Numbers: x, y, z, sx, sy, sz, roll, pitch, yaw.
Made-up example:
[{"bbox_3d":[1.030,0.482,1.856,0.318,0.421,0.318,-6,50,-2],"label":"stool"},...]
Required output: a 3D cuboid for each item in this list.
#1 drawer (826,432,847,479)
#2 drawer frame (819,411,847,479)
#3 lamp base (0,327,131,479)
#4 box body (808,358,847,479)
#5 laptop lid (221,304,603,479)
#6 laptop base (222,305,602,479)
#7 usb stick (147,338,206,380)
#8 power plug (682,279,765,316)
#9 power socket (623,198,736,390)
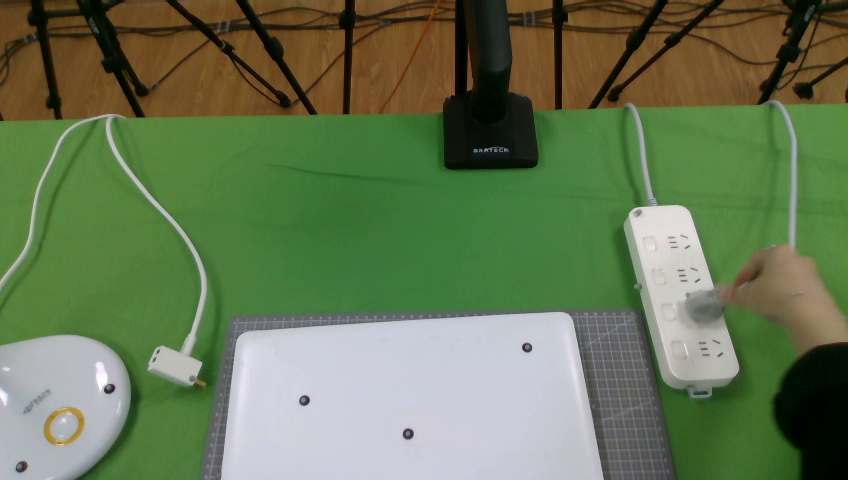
[{"bbox_3d":[0.481,0.204,0.519,0.193,0.074,0.211,33,66,20],"label":"drawer"},{"bbox_3d":[0.477,0.204,0.520,0.200,0.083,0.213,34,61,18],"label":"drawer frame"},{"bbox_3d":[-0.390,0.117,0.545,0.178,0.182,0.160,22,61,18],"label":"lamp base"},{"bbox_3d":[0.459,0.227,0.469,0.253,0.162,0.363,28,64,17],"label":"box body"},{"bbox_3d":[-0.015,0.179,0.580,0.357,0.013,0.239,-2,61,0],"label":"laptop lid"},{"bbox_3d":[-0.014,0.183,0.591,0.354,0.023,0.233,-4,62,-1],"label":"laptop base"},{"bbox_3d":[-0.247,0.124,0.616,0.021,0.060,0.027,-21,41,41],"label":"usb stick"},{"bbox_3d":[0.302,0.063,0.619,0.072,0.053,0.035,9,63,6],"label":"power plug"},{"bbox_3d":[0.272,0.048,0.657,0.072,0.033,0.224,-2,59,-1],"label":"power socket"}]
